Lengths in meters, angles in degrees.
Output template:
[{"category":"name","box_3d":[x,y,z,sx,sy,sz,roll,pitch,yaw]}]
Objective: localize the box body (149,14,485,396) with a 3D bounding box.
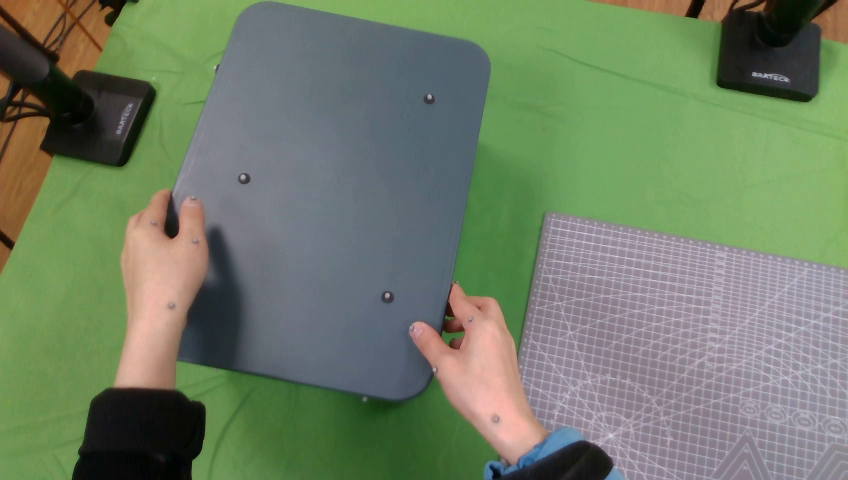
[{"category":"box body","box_3d":[-0.090,-0.030,0.653,0.254,0.161,0.362,10,73,6]}]

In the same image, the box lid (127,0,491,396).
[{"category":"box lid","box_3d":[-0.089,-0.061,0.559,0.263,0.015,0.369,11,70,1]}]
